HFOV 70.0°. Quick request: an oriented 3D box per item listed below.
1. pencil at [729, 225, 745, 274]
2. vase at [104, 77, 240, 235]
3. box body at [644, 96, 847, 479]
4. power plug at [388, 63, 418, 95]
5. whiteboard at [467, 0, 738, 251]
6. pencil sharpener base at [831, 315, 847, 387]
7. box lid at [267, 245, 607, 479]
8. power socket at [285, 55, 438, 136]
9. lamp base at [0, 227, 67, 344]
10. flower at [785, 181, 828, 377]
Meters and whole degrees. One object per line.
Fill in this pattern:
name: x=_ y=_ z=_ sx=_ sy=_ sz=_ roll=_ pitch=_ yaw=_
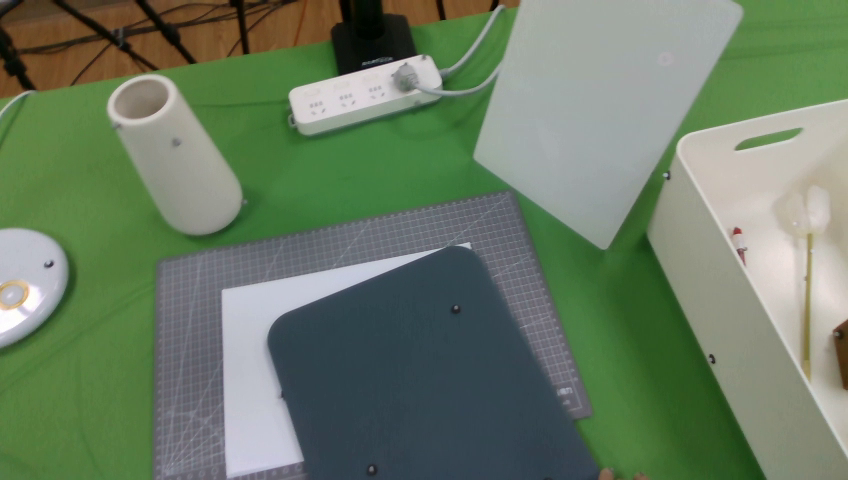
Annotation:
pencil: x=0.359 y=0.068 z=0.678 sx=0.012 sy=0.012 sz=0.192 roll=4 pitch=61 yaw=5
vase: x=-0.285 y=-0.090 z=0.694 sx=0.098 sy=0.202 sz=0.097 roll=-2 pitch=59 yaw=3
box body: x=0.410 y=0.056 z=0.600 sx=0.254 sy=0.162 sz=0.360 roll=-13 pitch=59 yaw=-5
power plug: x=-0.029 y=-0.208 z=0.824 sx=0.035 sy=0.053 sz=0.072 roll=-8 pitch=60 yaw=-2
whiteboard: x=0.209 y=-0.181 z=0.702 sx=0.215 sy=0.307 sz=0.144 roll=39 pitch=49 yaw=23
pencil sharpener base: x=0.463 y=0.103 z=0.594 sx=0.061 sy=0.108 sz=0.076 roll=7 pitch=60 yaw=6
box lid: x=0.008 y=0.185 z=0.626 sx=0.263 sy=0.015 sz=0.367 roll=-22 pitch=61 yaw=-11
power socket: x=-0.086 y=-0.204 z=0.851 sx=0.227 sy=0.033 sz=0.071 roll=-17 pitch=61 yaw=-8
lamp base: x=-0.522 y=0.010 z=0.654 sx=0.178 sy=0.182 sz=0.159 roll=16 pitch=60 yaw=15
flower: x=0.405 y=0.087 z=0.650 sx=0.044 sy=0.038 sz=0.359 roll=-1 pitch=56 yaw=37
